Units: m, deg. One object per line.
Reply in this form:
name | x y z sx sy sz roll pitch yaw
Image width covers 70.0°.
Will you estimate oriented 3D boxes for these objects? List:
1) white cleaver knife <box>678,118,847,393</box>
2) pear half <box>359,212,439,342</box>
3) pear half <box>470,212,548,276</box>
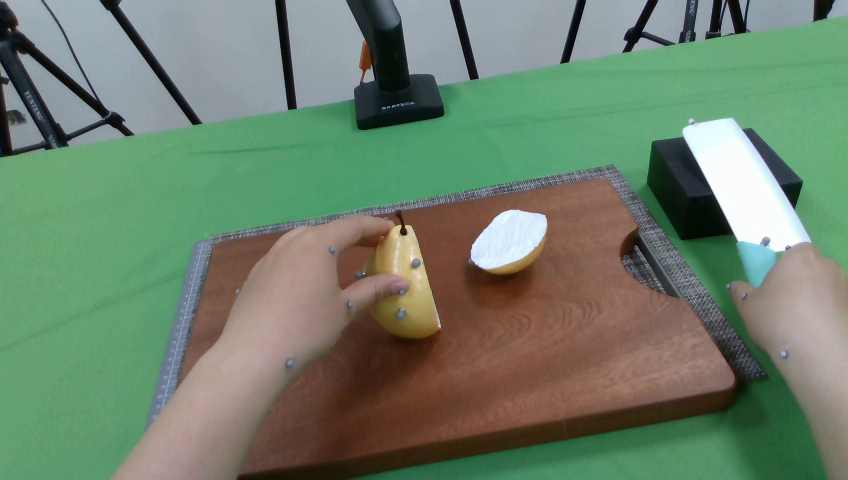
white cleaver knife | 0.284 -0.009 0.504 0.066 0.022 0.283 -8 53 5
pear half | -0.023 0.026 0.456 0.056 0.111 0.075 -15 35 -8
pear half | 0.076 0.007 0.522 0.070 0.031 0.087 -16 23 16
